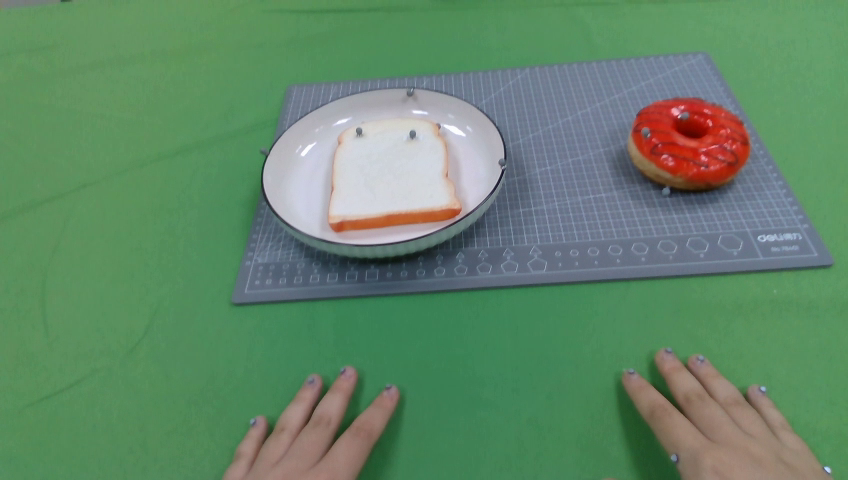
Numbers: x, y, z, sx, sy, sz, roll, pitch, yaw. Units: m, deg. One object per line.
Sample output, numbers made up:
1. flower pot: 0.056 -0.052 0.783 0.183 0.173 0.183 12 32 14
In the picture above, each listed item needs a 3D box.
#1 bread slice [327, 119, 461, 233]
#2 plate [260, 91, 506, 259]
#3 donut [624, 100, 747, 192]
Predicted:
1. bread slice: -0.032 -0.059 0.529 0.107 0.018 0.133 -8 47 -3
2. plate: -0.034 -0.057 0.524 0.209 0.038 0.207 -3 46 3
3. donut: 0.220 -0.080 0.513 0.099 0.049 0.098 -2 48 2
